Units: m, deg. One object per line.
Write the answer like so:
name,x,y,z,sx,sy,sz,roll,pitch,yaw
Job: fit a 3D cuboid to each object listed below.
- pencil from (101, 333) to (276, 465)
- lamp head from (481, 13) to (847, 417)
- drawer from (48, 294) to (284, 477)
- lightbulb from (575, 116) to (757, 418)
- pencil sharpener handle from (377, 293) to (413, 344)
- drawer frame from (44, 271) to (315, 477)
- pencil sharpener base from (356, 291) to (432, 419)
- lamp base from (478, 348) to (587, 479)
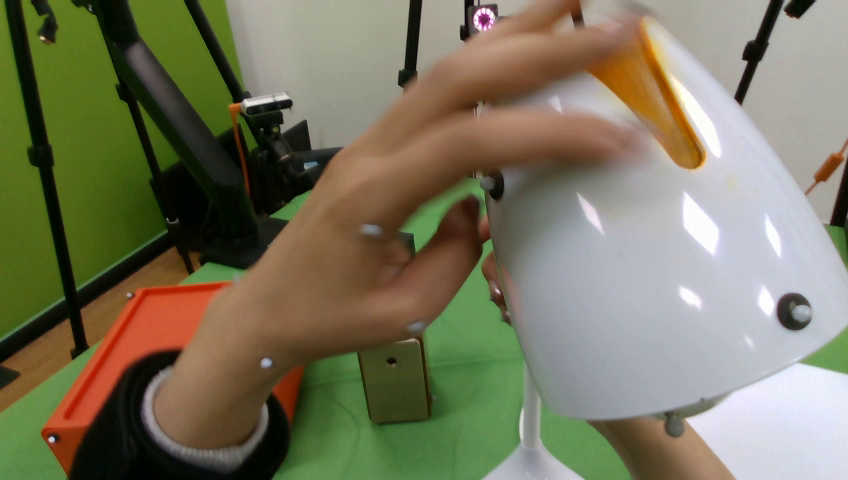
pencil,-0.227,0.152,0.599,0.194,0.012,0.012,-37,42,-24
lamp head,0.071,-0.014,0.221,0.112,0.122,0.112,-25,-5,-2
drawer,-0.228,0.133,0.624,0.194,0.074,0.210,-5,30,2
lightbulb,0.078,0.009,0.214,0.059,0.107,0.059,-16,2,1
pencil sharpener handle,-0.030,0.076,0.634,0.036,0.068,0.030,0,32,-1
drawer frame,-0.230,0.129,0.625,0.202,0.083,0.211,-5,31,2
pencil sharpener base,-0.026,0.113,0.597,0.061,0.108,0.076,-5,31,2
lamp base,0.078,0.165,0.420,0.161,0.181,0.177,-6,26,0
